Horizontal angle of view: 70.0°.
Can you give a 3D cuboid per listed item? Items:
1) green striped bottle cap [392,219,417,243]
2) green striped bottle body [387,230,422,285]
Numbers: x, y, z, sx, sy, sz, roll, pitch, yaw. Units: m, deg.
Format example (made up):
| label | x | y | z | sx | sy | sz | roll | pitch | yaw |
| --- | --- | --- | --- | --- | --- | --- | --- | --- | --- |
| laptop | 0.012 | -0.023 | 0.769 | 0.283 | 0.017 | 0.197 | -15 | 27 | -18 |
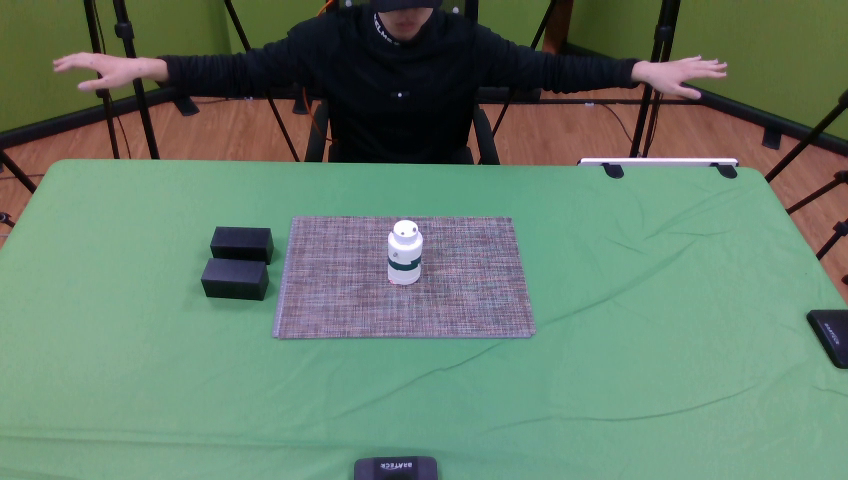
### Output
| label | x | y | z | sx | sy | sz | roll | pitch | yaw |
| --- | --- | --- | --- | --- | --- | --- | --- | --- | --- |
| green striped bottle cap | -0.035 | -0.015 | 1.065 | 0.044 | 0.020 | 0.044 | 4 | 45 | -4 |
| green striped bottle body | -0.036 | 0.021 | 1.102 | 0.063 | 0.120 | 0.063 | 2 | 46 | -2 |
